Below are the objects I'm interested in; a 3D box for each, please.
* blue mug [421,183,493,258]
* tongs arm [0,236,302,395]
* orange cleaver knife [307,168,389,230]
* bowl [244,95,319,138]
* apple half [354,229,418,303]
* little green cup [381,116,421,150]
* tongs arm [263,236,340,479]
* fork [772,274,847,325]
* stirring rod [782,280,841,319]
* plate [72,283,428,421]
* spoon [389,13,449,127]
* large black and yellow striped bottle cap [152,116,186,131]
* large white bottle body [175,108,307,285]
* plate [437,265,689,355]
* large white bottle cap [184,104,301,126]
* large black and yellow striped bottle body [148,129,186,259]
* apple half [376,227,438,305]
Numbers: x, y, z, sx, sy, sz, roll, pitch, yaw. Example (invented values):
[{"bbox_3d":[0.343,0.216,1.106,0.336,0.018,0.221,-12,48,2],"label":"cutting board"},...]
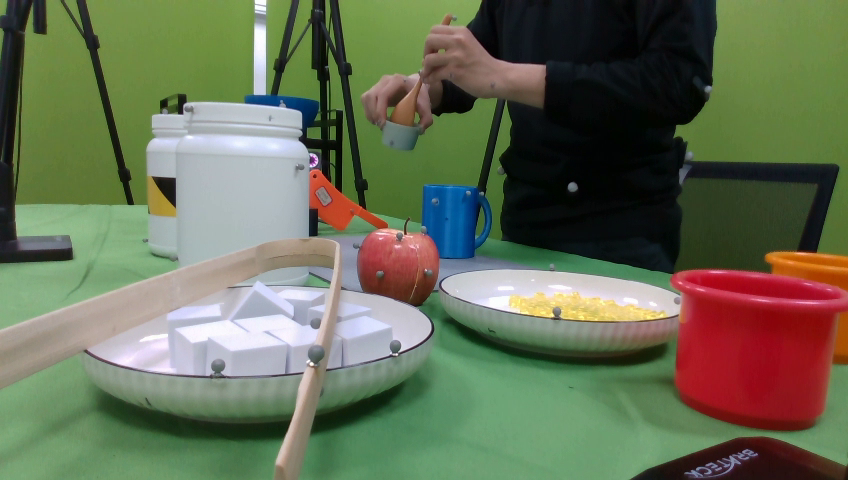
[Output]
[{"bbox_3d":[0.052,-0.032,0.912,0.117,0.106,0.082,-1,8,-24],"label":"blue mug"},{"bbox_3d":[-0.158,0.038,0.351,0.028,0.028,0.388,-3,8,11],"label":"tongs arm"},{"bbox_3d":[-0.158,-0.060,1.166,0.212,0.077,0.012,34,-12,-32],"label":"orange cleaver knife"},{"bbox_3d":[-0.293,-0.251,1.249,0.151,0.077,0.151,2,8,0],"label":"bowl"},{"bbox_3d":[-0.044,0.027,0.564,0.081,0.081,0.033,9,5,42],"label":"apple half"},{"bbox_3d":[-0.039,-0.167,0.948,0.061,0.038,0.061,12,22,-5],"label":"little green cup"},{"bbox_3d":[-0.074,0.039,0.349,0.051,0.026,0.384,-2,9,-3],"label":"tongs arm"},{"bbox_3d":[0.332,0.018,0.443,0.028,0.018,0.207,-1,-36,-15],"label":"fork"},{"bbox_3d":[0.344,0.019,0.460,0.014,0.006,0.176,-13,-27,-30],"label":"stirring rod"},{"bbox_3d":[-0.102,0.066,0.381,0.208,0.039,0.207,2,7,0],"label":"plate"},{"bbox_3d":[-0.006,-0.249,0.916,0.041,0.193,0.022,29,11,19],"label":"spoon"},{"bbox_3d":[-0.309,-0.155,0.826,0.115,0.019,0.115,3,6,0],"label":"large black and yellow striped bottle cap"},{"bbox_3d":[-0.188,-0.042,0.630,0.131,0.184,0.130,2,8,0],"label":"large white bottle body"},{"bbox_3d":[0.114,0.057,0.517,0.209,0.038,0.209,3,8,0],"label":"plate"},{"bbox_3d":[-0.184,-0.126,0.618,0.115,0.018,0.115,2,8,0],"label":"large white bottle cap"},{"bbox_3d":[-0.310,-0.073,0.838,0.131,0.184,0.130,2,8,0],"label":"large black and yellow striped bottle body"},{"bbox_3d":[-0.016,0.026,0.593,0.080,0.074,0.053,4,2,43],"label":"apple half"}]
